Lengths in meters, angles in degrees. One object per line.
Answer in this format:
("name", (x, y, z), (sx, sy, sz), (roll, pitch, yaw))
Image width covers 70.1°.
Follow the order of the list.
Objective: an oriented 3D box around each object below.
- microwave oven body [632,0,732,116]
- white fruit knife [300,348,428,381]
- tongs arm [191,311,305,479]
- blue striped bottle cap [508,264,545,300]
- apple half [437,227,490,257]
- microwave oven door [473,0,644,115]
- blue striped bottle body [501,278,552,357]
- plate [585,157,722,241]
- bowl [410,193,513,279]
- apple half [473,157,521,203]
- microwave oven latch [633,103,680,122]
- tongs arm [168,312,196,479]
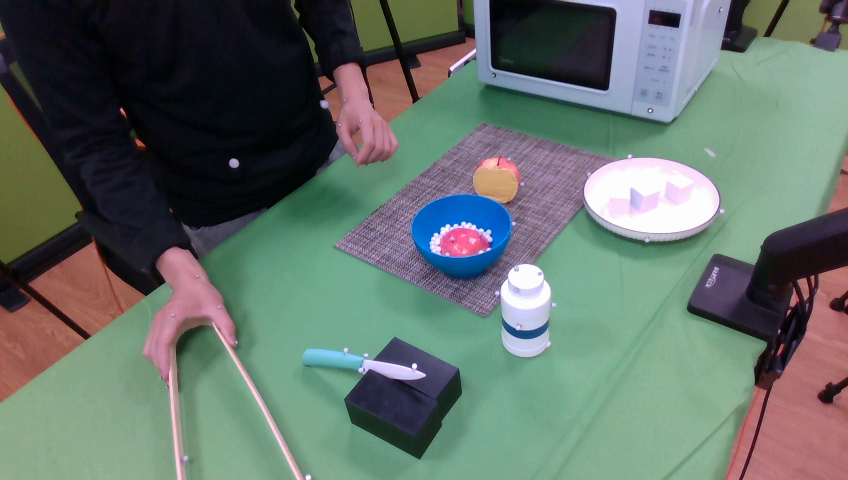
("microwave oven body", (0.377, -0.462, 1.267), (0.438, 0.261, 0.327), (21, 48, 30))
("white fruit knife", (-0.080, 0.154, 0.748), (0.206, 0.027, 0.016), (1, 20, 34))
("tongs arm", (-0.209, 0.203, 0.740), (0.028, 0.028, 0.384), (-32, 47, -18))
("blue striped bottle cap", (0.125, 0.051, 0.735), (0.044, 0.021, 0.044), (-5, 39, 5))
("apple half", (0.056, 0.002, 0.902), (0.081, 0.033, 0.081), (-3, 41, 3))
("microwave oven door", (0.257, -0.396, 1.199), (0.353, 0.245, 0.039), (21, 48, 29))
("blue striped bottle body", (0.130, 0.089, 0.769), (0.063, 0.121, 0.063), (-4, 41, 4))
("plate", (0.367, -0.063, 0.979), (0.207, 0.039, 0.206), (-4, 40, 4))
("bowl", (0.058, 0.005, 0.905), (0.151, 0.077, 0.150), (-4, 40, 3))
("apple half", (0.128, -0.107, 1.030), (0.080, 0.075, 0.053), (4, 38, 19))
("microwave oven latch", (0.443, -0.249, 1.157), (0.078, 0.029, 0.030), (21, 48, 30))
("tongs arm", (-0.273, 0.229, 0.719), (0.051, 0.026, 0.381), (-21, 44, -13))
